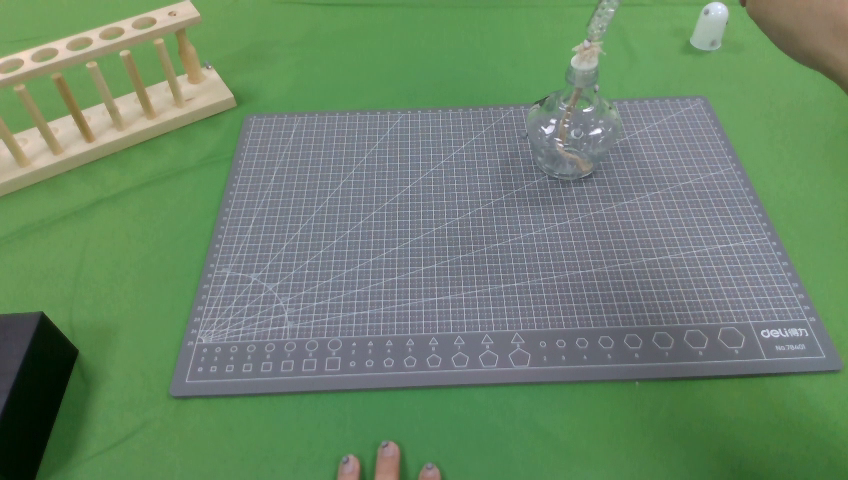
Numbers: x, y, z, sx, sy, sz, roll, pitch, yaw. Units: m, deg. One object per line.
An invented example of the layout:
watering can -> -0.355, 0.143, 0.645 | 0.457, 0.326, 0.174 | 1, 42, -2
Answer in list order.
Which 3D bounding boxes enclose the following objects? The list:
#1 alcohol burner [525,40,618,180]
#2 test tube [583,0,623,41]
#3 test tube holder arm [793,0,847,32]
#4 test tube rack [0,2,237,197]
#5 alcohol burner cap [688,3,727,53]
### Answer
alcohol burner -> 0.123, -0.109, 0.497 | 0.078, 0.120, 0.077 | -1, 48, 1
test tube -> 0.140, -0.193, 0.388 | 0.017, 0.151, 0.017 | 9, 51, -11
test tube holder arm -> 0.199, -0.164, 0.363 | 0.177, 0.015, 0.013 | 37, 55, 13
test tube rack -> -0.308, -0.129, 0.554 | 0.242, 0.086, 0.066 | -27, 54, -19
alcohol burner cap -> 0.302, -0.226, 0.640 | 0.034, 0.048, 0.033 | -2, 50, 3
